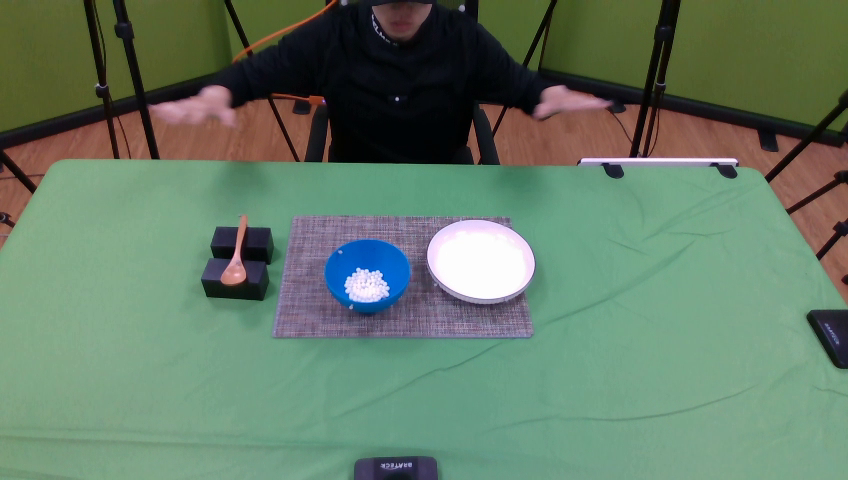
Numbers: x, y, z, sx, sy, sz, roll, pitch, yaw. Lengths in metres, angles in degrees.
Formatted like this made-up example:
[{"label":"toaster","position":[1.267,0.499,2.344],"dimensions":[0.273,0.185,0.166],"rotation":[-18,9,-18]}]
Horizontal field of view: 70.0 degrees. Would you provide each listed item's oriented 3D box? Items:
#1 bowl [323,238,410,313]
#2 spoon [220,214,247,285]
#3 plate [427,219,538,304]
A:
[{"label":"bowl","position":[-0.101,0.077,1.073],"dimensions":[0.151,0.077,0.150],"rotation":[2,46,-2]},{"label":"spoon","position":[-0.334,0.014,1.093],"dimensions":[0.041,0.022,0.192],"rotation":[-1,45,-6]},{"label":"plate","position":[0.109,0.044,1.149],"dimensions":[0.208,0.039,0.206],"rotation":[2,46,-2]}]
